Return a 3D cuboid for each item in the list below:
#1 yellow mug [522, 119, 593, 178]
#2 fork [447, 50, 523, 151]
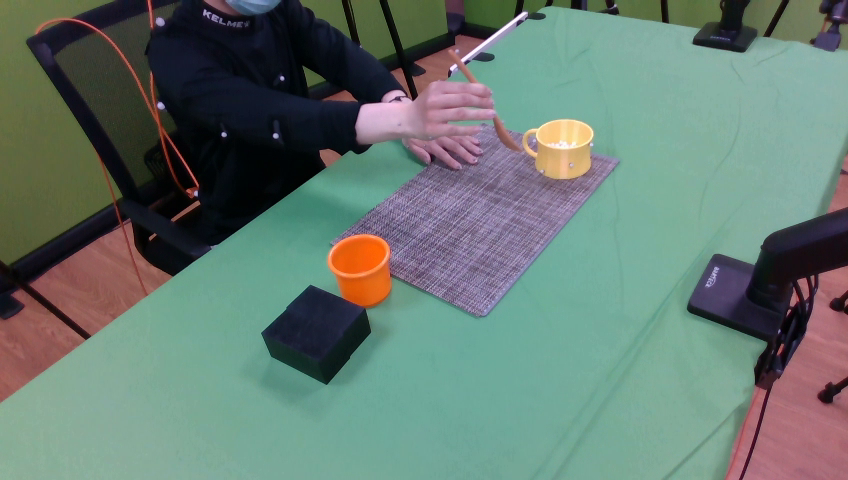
[{"bbox_3d":[0.237,-0.170,1.092,0.130,0.064,0.100,17,47,27],"label":"yellow mug"},{"bbox_3d":[0.095,-0.211,0.937,0.018,0.209,0.028,-49,31,-17],"label":"fork"}]
